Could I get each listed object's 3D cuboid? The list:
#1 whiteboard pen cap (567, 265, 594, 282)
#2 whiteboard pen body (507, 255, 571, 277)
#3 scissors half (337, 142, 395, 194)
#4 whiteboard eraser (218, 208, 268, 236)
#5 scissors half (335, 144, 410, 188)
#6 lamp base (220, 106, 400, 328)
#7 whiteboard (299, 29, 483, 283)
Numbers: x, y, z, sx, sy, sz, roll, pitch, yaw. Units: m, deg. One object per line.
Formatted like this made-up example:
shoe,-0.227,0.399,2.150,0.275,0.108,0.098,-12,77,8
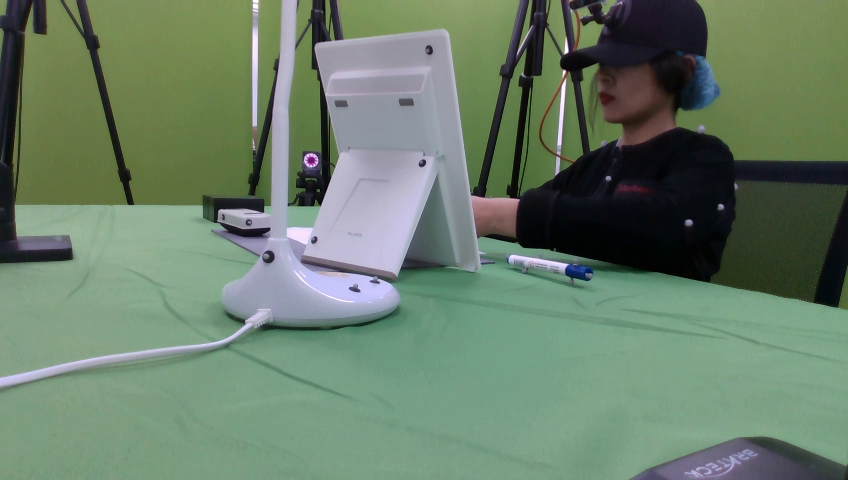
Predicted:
whiteboard pen cap,0.186,0.040,0.722,0.018,0.018,0.033,-2,6,-33
whiteboard pen body,0.155,0.034,0.772,0.017,0.017,0.140,-2,7,-31
scissors half,-0.113,-0.137,1.168,0.040,0.013,0.176,-15,-36,25
whiteboard eraser,-0.309,-0.031,1.044,0.056,0.042,0.112,-2,9,-40
scissors half,-0.097,-0.143,1.155,0.176,0.013,0.040,25,-34,-31
lamp base,-0.101,-0.023,0.531,0.160,0.180,0.179,4,10,10
whiteboard,-0.074,-0.082,0.742,0.216,0.305,0.144,9,29,38
